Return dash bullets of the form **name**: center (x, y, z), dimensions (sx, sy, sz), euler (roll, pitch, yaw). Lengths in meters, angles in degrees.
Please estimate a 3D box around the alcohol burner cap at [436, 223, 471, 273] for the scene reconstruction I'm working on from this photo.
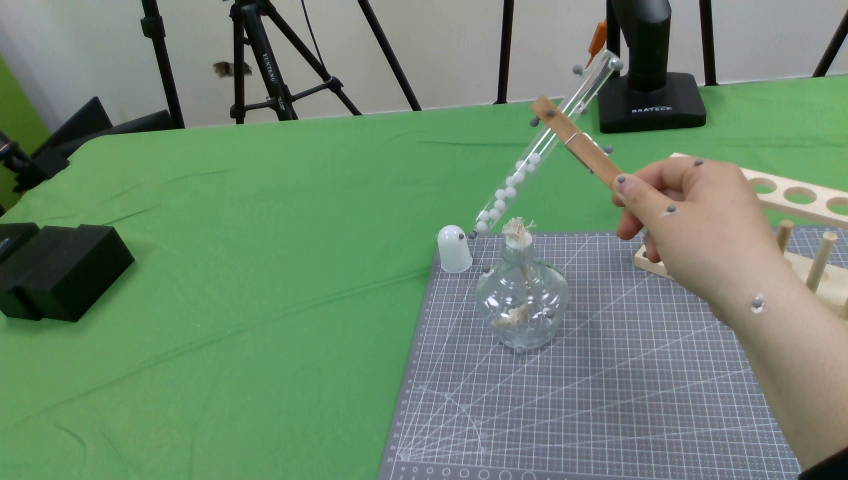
- **alcohol burner cap**: center (0.027, 0.005, 0.588), dimensions (0.034, 0.048, 0.033), euler (-6, 40, 6)

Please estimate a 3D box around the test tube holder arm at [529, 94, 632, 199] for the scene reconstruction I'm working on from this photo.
- **test tube holder arm**: center (0.104, -0.063, 0.405), dimensions (0.087, 0.015, 0.010), euler (48, 21, 8)

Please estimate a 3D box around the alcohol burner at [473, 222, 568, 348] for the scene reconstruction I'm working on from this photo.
- **alcohol burner**: center (0.076, 0.031, 0.486), dimensions (0.078, 0.120, 0.077), euler (-7, 41, 6)

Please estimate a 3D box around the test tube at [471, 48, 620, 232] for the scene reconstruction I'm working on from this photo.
- **test tube**: center (0.081, -0.065, 0.419), dimensions (0.150, 0.017, 0.017), euler (-53, 38, 16)

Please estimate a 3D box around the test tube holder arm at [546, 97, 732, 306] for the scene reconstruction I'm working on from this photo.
- **test tube holder arm**: center (0.135, -0.029, 0.400), dimensions (0.177, 0.015, 0.013), euler (51, 22, 15)

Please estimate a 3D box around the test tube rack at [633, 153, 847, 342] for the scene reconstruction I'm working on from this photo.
- **test tube rack**: center (0.293, 0.011, 0.473), dimensions (0.240, 0.086, 0.066), euler (23, 52, 36)
